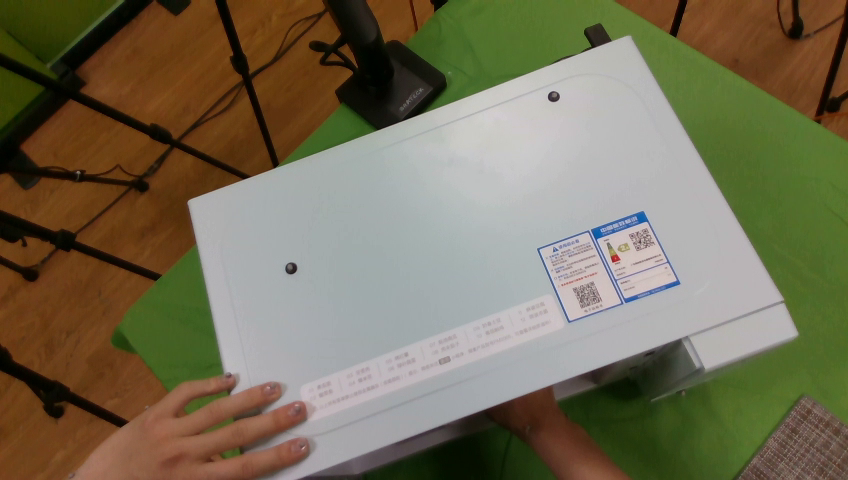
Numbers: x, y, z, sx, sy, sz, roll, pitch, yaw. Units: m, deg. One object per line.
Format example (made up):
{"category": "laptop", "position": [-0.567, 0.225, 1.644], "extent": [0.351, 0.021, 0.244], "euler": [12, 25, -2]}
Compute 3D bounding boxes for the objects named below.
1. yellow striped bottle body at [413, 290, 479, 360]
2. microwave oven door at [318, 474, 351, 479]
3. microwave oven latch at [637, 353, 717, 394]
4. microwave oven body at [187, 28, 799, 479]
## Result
{"category": "yellow striped bottle body", "position": [0.024, 0.087, 0.617], "extent": [0.063, 0.121, 0.062], "euler": [-2, 75, 6]}
{"category": "microwave oven door", "position": [0.033, 0.320, 0.518], "extent": [0.354, 0.245, 0.039], "euler": [29, 76, 17]}
{"category": "microwave oven latch", "position": [0.274, 0.141, 0.656], "extent": [0.079, 0.030, 0.030], "euler": [-19, 69, 2]}
{"category": "microwave oven body", "position": [0.046, 0.042, 0.622], "extent": [0.442, 0.262, 0.323], "euler": [-21, 69, 2]}
